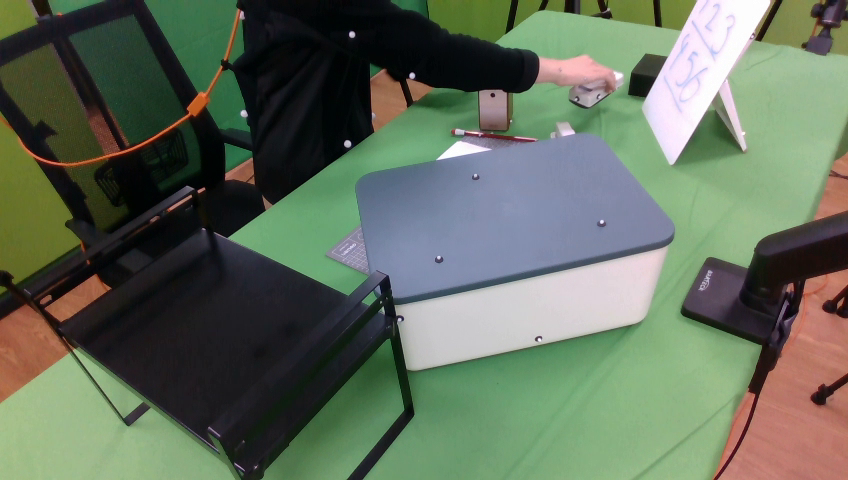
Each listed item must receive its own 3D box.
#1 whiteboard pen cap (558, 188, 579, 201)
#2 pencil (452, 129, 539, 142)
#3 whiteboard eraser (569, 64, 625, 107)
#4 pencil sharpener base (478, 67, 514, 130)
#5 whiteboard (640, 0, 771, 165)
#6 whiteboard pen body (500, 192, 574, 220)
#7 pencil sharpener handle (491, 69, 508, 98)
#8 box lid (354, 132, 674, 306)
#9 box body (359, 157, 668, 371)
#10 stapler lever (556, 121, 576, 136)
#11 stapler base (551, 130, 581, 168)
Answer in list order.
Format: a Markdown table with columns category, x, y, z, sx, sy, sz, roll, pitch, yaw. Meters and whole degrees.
| category | x | y | z | sx | sy | sz | roll | pitch | yaw |
| --- | --- | --- | --- | --- | --- | --- | --- | --- | --- |
| whiteboard pen cap | 0.245 | -0.076 | 1.028 | 0.033 | 0.018 | 0.018 | -18 | 42 | -15 |
| pencil | 0.147 | -0.207 | 1.206 | 0.193 | 0.012 | 0.012 | 10 | 43 | 19 |
| whiteboard eraser | 0.345 | -0.306 | 1.206 | 0.113 | 0.042 | 0.055 | -37 | 50 | -22 |
| pencil sharpener base | 0.148 | -0.287 | 1.224 | 0.061 | 0.107 | 0.076 | 5 | 42 | 15 |
| whiteboard | 0.543 | -0.299 | 1.076 | 0.144 | 0.305 | 0.216 | 12 | 40 | -7 |
| whiteboard pen body | 0.191 | -0.059 | 1.011 | 0.141 | 0.017 | 0.017 | -18 | 41 | -16 |
| pencil sharpener handle | 0.155 | -0.330 | 1.254 | 0.036 | 0.068 | 0.030 | 18 | 44 | 3 |
| box lid | 0.102 | -0.042 | 0.785 | 0.372 | 0.015 | 0.261 | -12 | 41 | -5 |
| box body | 0.108 | 0.014 | 0.833 | 0.365 | 0.161 | 0.252 | -11 | 41 | -5 |
| stapler lever | 0.266 | -0.198 | 1.128 | 0.027 | 0.040 | 0.117 | 1 | 38 | 3 |
| stapler base | 0.268 | -0.178 | 1.142 | 0.041 | 0.024 | 0.130 | 1 | 37 | 3 |
